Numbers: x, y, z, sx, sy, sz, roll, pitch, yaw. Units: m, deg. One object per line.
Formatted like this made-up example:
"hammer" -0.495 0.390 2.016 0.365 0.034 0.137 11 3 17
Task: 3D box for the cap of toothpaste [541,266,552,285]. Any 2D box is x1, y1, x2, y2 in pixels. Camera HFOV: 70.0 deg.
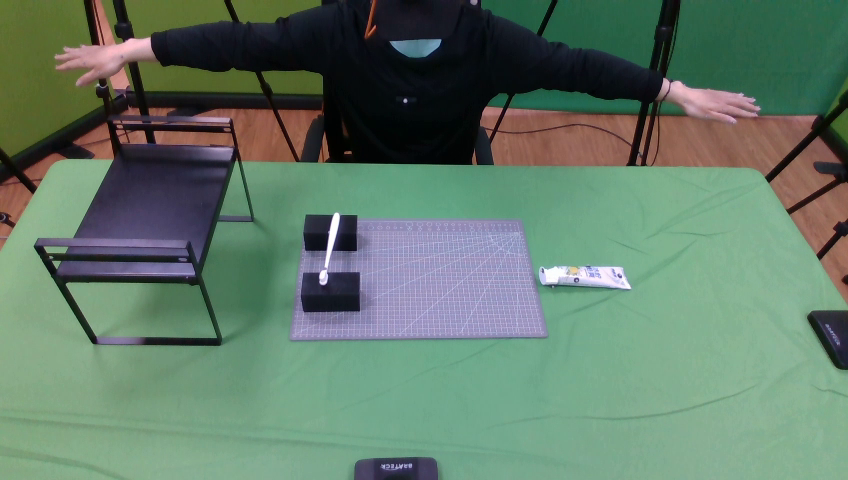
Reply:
"cap of toothpaste" 0.229 0.065 1.135 0.011 0.037 0.037 -7 48 -11

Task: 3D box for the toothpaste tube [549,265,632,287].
"toothpaste tube" 0.309 0.068 1.147 0.165 0.034 0.054 0 52 -9

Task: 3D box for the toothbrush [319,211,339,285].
"toothbrush" -0.172 0.009 1.103 0.014 0.017 0.180 -5 44 8
